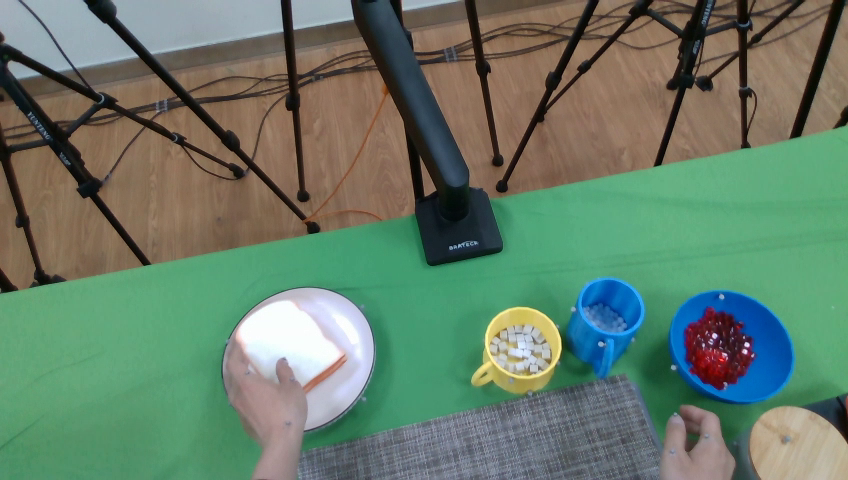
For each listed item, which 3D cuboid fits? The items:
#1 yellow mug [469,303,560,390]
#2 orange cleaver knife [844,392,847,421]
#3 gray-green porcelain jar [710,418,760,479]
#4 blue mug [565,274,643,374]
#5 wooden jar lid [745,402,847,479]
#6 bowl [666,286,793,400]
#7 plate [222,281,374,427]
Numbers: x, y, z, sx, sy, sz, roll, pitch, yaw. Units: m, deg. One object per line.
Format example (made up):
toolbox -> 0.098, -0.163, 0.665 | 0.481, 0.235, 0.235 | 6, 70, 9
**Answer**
yellow mug -> 0.115, 0.151, 0.807 | 0.131, 0.064, 0.099 | -31, 62, -13
orange cleaver knife -> 0.533, 0.282, 0.699 | 0.012, 0.077, 0.211 | -13, 86, -4
gray-green porcelain jar -> 0.398, 0.260, 0.695 | 0.106, 0.127, 0.105 | -1, 59, 2
blue mug -> 0.234, 0.119, 0.798 | 0.082, 0.107, 0.115 | 6, 60, 7
wooden jar lid -> 0.393, 0.227, 0.641 | 0.108, 0.021, 0.107 | 0, 62, 0
bowl -> 0.385, 0.144, 0.791 | 0.151, 0.077, 0.150 | -1, 60, 3
plate -> -0.170, 0.156, 0.834 | 0.207, 0.039, 0.206 | -1, 60, 2
